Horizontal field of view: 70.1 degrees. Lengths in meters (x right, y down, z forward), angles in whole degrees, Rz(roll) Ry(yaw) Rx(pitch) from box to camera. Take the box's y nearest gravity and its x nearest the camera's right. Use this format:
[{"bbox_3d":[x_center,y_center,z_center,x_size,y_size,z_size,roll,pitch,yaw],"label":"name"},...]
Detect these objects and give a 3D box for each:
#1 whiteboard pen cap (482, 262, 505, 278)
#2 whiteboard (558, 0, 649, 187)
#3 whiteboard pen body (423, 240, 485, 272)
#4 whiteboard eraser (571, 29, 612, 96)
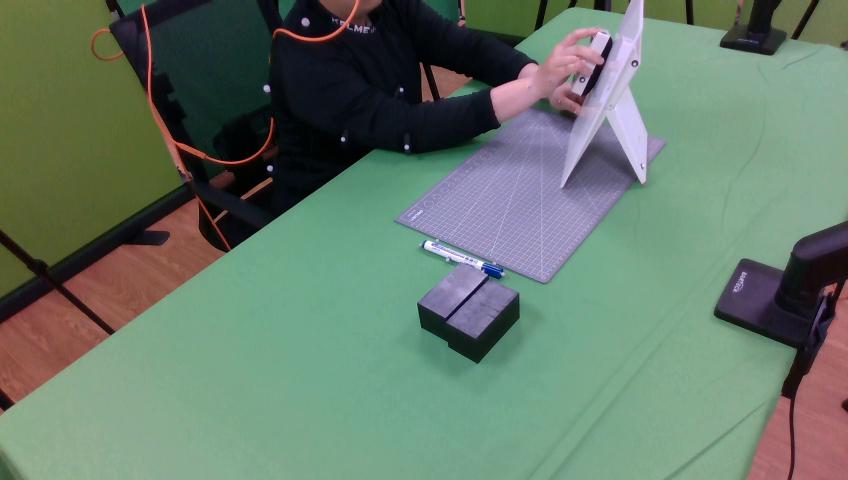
[{"bbox_3d":[0.104,0.044,0.912,0.033,0.018,0.018,22,48,29],"label":"whiteboard pen cap"},{"bbox_3d":[0.361,-0.238,1.026,0.144,0.306,0.217,21,44,3],"label":"whiteboard"},{"bbox_3d":[0.057,0.027,0.942,0.139,0.017,0.017,22,49,30],"label":"whiteboard pen body"},{"bbox_3d":[0.304,-0.319,1.093,0.042,0.112,0.055,22,32,3],"label":"whiteboard eraser"}]
